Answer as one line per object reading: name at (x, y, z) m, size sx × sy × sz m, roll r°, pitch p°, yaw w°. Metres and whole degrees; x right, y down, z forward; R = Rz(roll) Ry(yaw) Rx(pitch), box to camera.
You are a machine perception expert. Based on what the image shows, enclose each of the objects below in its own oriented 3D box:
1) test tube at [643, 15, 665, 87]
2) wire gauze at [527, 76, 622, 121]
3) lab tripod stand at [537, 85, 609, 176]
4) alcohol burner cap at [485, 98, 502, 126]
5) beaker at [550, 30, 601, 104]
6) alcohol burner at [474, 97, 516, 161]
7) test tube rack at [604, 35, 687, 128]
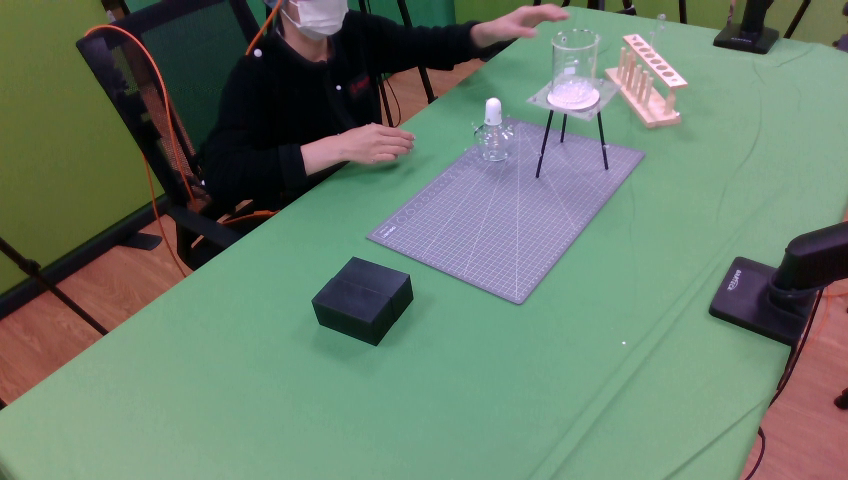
test tube at (0.460, -0.378, 1.219) m, size 0.017 × 0.151 × 0.017 m, roll -1°, pitch 43°, yaw 1°
wire gauze at (0.255, -0.247, 1.030) m, size 0.124 × 0.011 × 0.122 m, roll 23°, pitch 49°, yaw 34°
lab tripod stand at (0.259, -0.192, 1.068) m, size 0.148 × 0.132 × 0.147 m, roll -4°, pitch 43°, yaw 4°
alcohol burner cap at (0.126, -0.234, 1.097) m, size 0.034 × 0.048 × 0.033 m, roll -3°, pitch 39°, yaw 3°
beaker at (0.249, -0.285, 1.001) m, size 0.084 × 0.101 × 0.073 m, roll -13°, pitch 43°, yaw -5°
alcohol burner at (0.131, -0.208, 1.121) m, size 0.078 × 0.119 × 0.077 m, roll -6°, pitch 40°, yaw 5°
test tube rack at (0.447, -0.330, 1.241) m, size 0.067 × 0.085 × 0.241 m, roll -9°, pitch 41°, yaw -2°
